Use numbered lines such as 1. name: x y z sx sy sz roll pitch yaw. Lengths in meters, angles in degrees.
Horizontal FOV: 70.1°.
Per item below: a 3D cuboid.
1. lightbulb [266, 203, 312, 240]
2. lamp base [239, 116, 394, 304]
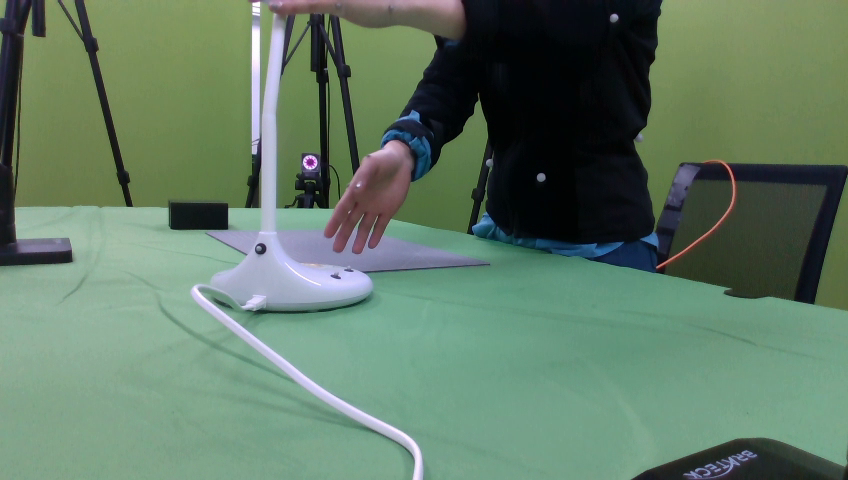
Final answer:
1. lightbulb: -0.224 -0.026 1.031 0.059 0.059 0.108 8 25 38
2. lamp base: -0.106 -0.034 0.619 0.161 0.180 0.178 0 10 -17
